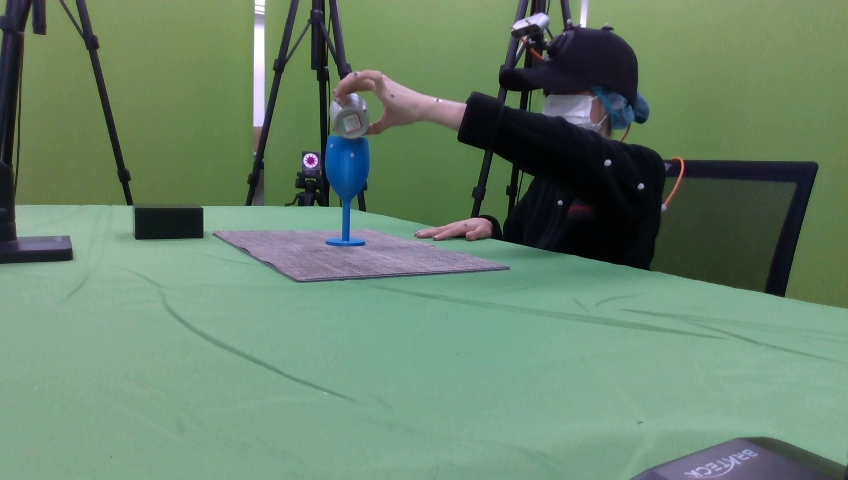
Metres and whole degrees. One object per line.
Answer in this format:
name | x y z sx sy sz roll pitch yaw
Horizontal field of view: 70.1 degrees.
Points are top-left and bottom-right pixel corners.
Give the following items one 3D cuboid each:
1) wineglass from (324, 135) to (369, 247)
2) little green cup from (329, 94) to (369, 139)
wineglass | -0.125 -0.079 0.965 0.074 0.172 0.073 3 8 0
little green cup | -0.111 -0.183 0.908 0.062 0.061 0.038 1 38 -14
